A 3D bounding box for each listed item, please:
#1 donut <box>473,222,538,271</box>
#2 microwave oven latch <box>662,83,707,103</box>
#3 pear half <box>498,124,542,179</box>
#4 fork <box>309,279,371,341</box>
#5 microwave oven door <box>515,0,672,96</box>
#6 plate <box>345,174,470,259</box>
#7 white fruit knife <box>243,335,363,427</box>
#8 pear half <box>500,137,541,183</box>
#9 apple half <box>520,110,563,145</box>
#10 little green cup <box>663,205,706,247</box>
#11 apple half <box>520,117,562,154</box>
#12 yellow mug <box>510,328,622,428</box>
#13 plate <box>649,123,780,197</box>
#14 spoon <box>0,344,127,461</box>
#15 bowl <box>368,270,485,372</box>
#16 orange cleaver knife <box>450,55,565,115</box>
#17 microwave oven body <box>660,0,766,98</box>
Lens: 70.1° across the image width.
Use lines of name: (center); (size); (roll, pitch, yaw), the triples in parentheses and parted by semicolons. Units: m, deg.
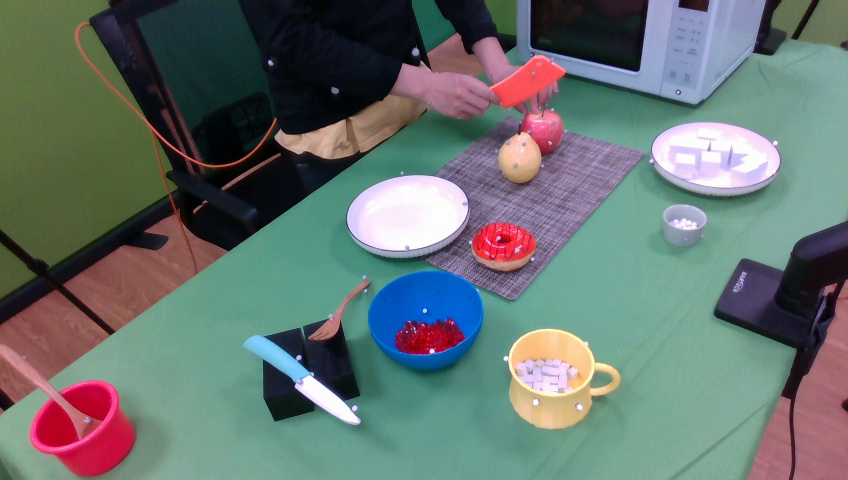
donut: (0.123, 0.009, 0.923); (0.099, 0.048, 0.098); (-3, 38, 3)
microwave oven latch: (0.517, -0.296, 1.204); (0.078, 0.029, 0.030); (27, 52, 35)
pear half: (0.169, -0.163, 1.068); (0.076, 0.110, 0.055); (-3, 41, 0)
fork: (-0.109, 0.092, 0.832); (0.028, 0.018, 0.207); (-5, 19, 15)
microwave oven door: (0.344, -0.455, 1.259); (0.353, 0.245, 0.039); (26, 51, 33)
plate: (-0.026, -0.037, 1.004); (0.209, 0.038, 0.208); (-4, 40, 4)
white fruit knife: (-0.148, 0.167, 0.729); (0.206, 0.016, 0.027); (27, 80, 31)
pear half: (0.169, -0.133, 1.048); (0.070, 0.088, 0.031); (-3, 40, -2)
apple half: (0.223, -0.211, 1.144); (0.080, 0.075, 0.053); (-1, 37, 15)
little green cup: (0.396, -0.021, 0.926); (0.061, 0.039, 0.061); (-4, 40, 4)
apple half: (0.215, -0.187, 1.114); (0.081, 0.081, 0.032); (2, 37, 11)
yellow mug: (0.168, 0.164, 0.722); (0.130, 0.064, 0.099); (0, 40, 8)
plate: (0.497, -0.135, 1.046); (0.207, 0.039, 0.206); (-4, 40, 4)
spoon: (-0.433, 0.191, 0.721); (0.194, 0.021, 0.042); (47, 53, -6)
bowl: (0.007, 0.118, 0.791); (0.151, 0.077, 0.150); (-5, 40, 4)
orange cleaver knife: (0.142, -0.259, 1.061); (0.210, 0.078, 0.012); (-22, 52, 33)
microwave oven body: (0.472, -0.513, 1.317); (0.438, 0.261, 0.327); (26, 51, 34)
